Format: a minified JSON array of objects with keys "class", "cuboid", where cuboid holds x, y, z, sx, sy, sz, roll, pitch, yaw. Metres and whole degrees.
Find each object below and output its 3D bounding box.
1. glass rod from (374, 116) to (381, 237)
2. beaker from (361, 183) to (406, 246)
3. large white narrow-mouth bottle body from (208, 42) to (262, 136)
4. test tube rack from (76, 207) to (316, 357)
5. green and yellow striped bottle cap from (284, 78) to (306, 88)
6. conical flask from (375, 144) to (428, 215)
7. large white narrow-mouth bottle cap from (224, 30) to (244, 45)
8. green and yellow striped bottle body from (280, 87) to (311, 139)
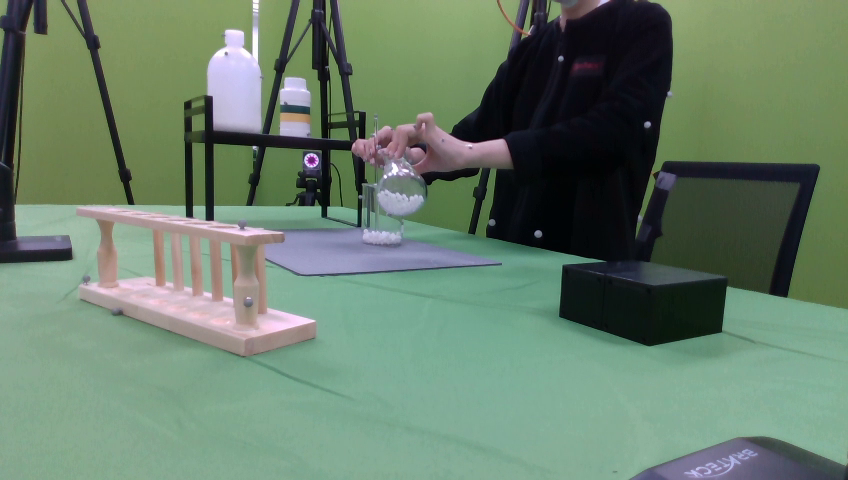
[{"class":"glass rod","cuboid":[-0.078,-0.104,1.003,0.008,0.199,0.008,-1,5,0]},{"class":"beaker","cuboid":[-0.067,-0.042,0.993,0.074,0.100,0.084,1,8,-8]},{"class":"large white narrow-mouth bottle body","cuboid":[-0.368,-0.304,1.181,0.102,0.194,0.101,2,9,0]},{"class":"test tube rack","cuboid":[-0.196,0.023,0.500,0.241,0.085,0.067,8,9,36]},{"class":"green and yellow striped bottle cap","cuboid":[-0.268,-0.325,1.259,0.045,0.020,0.045,5,7,0]},{"class":"conical flask","cuboid":[-0.038,-0.098,0.893,0.075,0.075,0.121,1,36,-10]},{"class":"large white narrow-mouth bottle cap","cuboid":[-0.365,-0.389,1.166,0.038,0.024,0.037,2,9,0]},{"class":"green and yellow striped bottle body","cuboid":[-0.269,-0.274,1.266,0.063,0.119,0.063,3,7,0]}]
